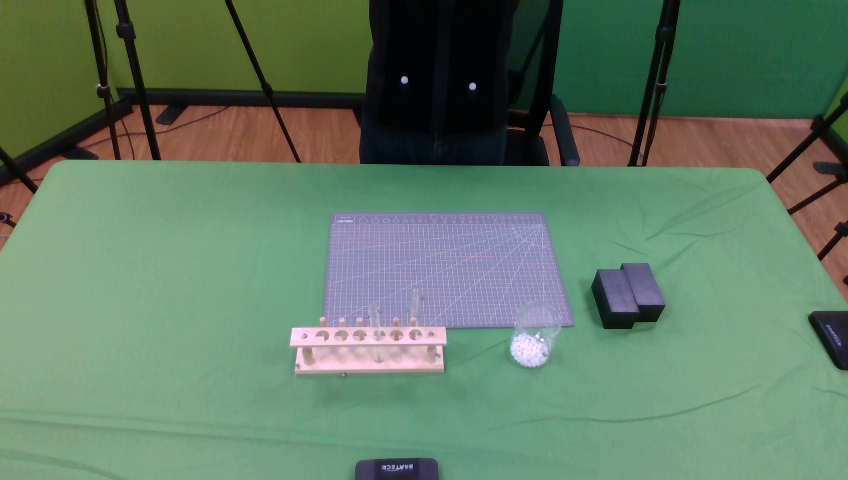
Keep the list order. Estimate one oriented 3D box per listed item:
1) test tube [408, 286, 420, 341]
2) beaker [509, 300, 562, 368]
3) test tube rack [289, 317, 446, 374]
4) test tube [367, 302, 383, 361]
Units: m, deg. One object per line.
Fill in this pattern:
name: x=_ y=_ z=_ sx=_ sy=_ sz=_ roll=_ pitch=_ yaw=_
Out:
test tube: x=-0.017 y=0.123 z=0.974 sx=0.017 sy=0.151 sz=0.017 roll=2 pitch=48 yaw=-2
beaker: x=0.182 y=0.162 z=1.005 sx=0.074 sy=0.101 sz=0.083 roll=-4 pitch=47 yaw=-7
test tube rack: x=-0.089 y=0.167 z=0.988 sx=0.242 sy=0.085 sz=0.066 roll=0 pitch=46 yaw=-4
test tube: x=-0.075 y=0.145 z=0.941 sx=0.017 sy=0.151 sz=0.017 roll=0 pitch=49 yaw=0
